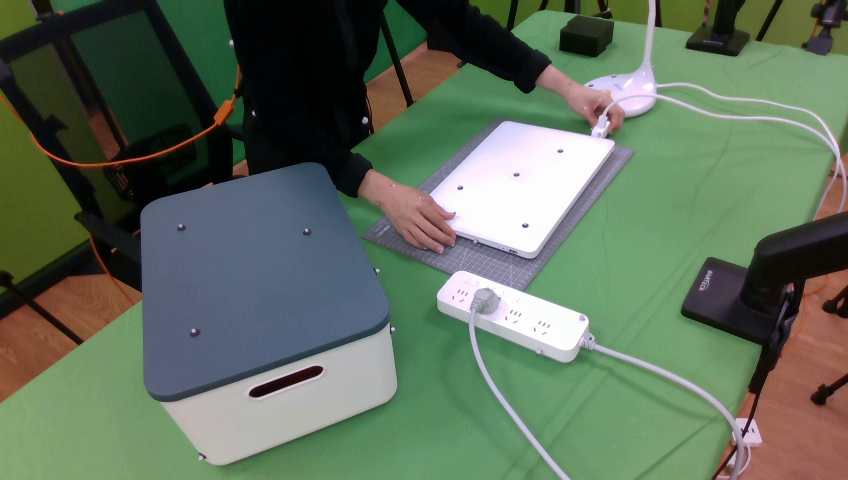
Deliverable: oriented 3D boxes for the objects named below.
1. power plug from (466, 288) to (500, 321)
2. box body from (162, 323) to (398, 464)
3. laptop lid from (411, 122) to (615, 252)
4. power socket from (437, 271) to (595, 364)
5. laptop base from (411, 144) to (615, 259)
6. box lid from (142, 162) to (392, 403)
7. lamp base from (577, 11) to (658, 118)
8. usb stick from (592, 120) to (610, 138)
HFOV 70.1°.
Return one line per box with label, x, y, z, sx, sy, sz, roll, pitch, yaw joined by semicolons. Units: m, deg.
power plug;0.072;0.093;0.813;0.073;0.053;0.035;-37;49;-28
box body;-0.205;0.080;0.802;0.255;0.161;0.361;-18;41;-13
laptop lid;0.164;-0.112;1.068;0.240;0.013;0.357;19;46;31
power socket;0.118;0.102;0.830;0.225;0.033;0.072;20;48;28
laptop base;0.167;-0.102;1.075;0.234;0.023;0.355;17;45;30
box lid;-0.212;0.024;0.752;0.264;0.015;0.368;-17;41;-13
lamp base;0.406;-0.364;1.222;0.180;0.181;0.159;-19;42;-18
usb stick;0.334;-0.203;1.150;0.021;0.027;0.059;22;51;23
